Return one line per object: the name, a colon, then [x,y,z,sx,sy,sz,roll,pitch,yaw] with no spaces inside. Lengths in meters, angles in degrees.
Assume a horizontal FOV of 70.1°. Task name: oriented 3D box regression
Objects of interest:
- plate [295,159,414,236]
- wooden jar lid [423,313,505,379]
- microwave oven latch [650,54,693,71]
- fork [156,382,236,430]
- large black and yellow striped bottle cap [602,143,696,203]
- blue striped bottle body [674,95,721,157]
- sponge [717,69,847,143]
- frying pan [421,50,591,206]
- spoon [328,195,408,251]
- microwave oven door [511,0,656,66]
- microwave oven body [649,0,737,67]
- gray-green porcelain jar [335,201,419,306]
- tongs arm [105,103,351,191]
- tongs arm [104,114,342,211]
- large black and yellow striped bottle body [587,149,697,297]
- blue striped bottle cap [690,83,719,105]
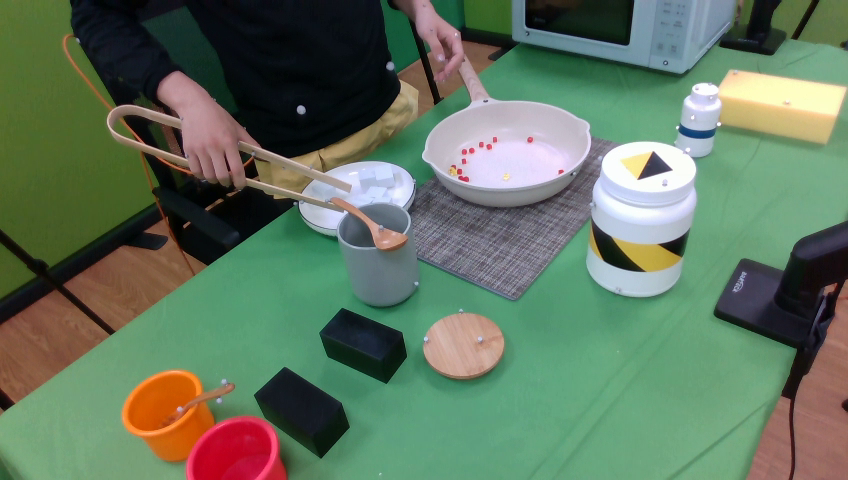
plate: [-0.118,-0.070,1.055,0.207,0.039,0.206,-5,40,5]
wooden jar lid: [0.053,0.142,0.800,0.108,0.021,0.108,-5,39,4]
microwave oven latch: [0.531,-0.386,1.301,0.078,0.029,0.030,26,51,33]
fork: [-0.262,0.189,0.690,0.018,0.206,0.028,49,43,-7]
large black and yellow striped bottle cap: [0.289,-0.088,0.779,0.115,0.019,0.114,-5,40,4]
blue striped bottle body: [0.486,-0.213,1.071,0.063,0.121,0.063,-4,41,4]
sponge: [0.663,-0.256,1.142,0.205,0.061,0.118,19,47,28]
frying pan: [0.127,-0.233,1.154,0.307,0.103,0.484,-11,49,-5]
spoon: [-0.083,-0.029,0.829,0.042,0.022,0.192,-32,43,-21]
microwave oven door: [0.351,-0.539,1.349,0.353,0.245,0.039,24,50,31]
microwave oven body: [0.475,-0.602,1.411,0.438,0.261,0.327,23,50,32]
gray-green porcelain jar: [-0.064,0.024,0.872,0.106,0.127,0.105,-4,41,4]
tongs arm: [-0.306,-0.139,0.963,0.385,0.026,0.050,22,64,-5]
tongs arm: [-0.313,-0.116,0.951,0.388,0.028,0.028,19,68,-6]
large black and yellow striped bottle body: [0.298,-0.026,0.835,0.131,0.185,0.130,-4,41,4]
blue striped bottle cap: [0.481,-0.251,1.038,0.044,0.021,0.044,-5,40,5]
